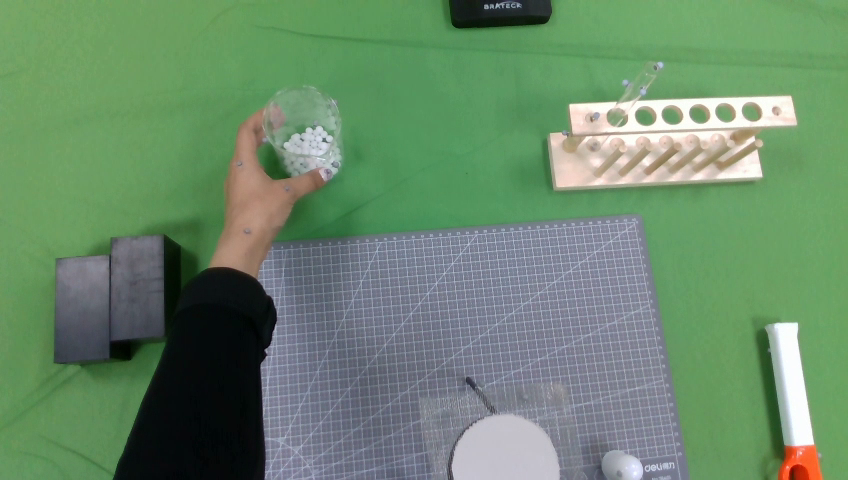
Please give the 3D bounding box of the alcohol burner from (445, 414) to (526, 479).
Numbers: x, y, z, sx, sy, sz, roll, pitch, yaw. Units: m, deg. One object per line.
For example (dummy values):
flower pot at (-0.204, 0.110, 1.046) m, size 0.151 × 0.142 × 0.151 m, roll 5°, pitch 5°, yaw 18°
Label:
alcohol burner at (0.060, 0.201, 0.562) m, size 0.078 × 0.119 × 0.077 m, roll 1°, pitch 75°, yaw -5°

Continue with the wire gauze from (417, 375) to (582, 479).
wire gauze at (0.063, 0.176, 0.487) m, size 0.125 × 0.011 × 0.121 m, roll -6°, pitch 77°, yaw -7°

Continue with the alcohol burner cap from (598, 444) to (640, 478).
alcohol burner cap at (0.197, 0.222, 0.605) m, size 0.034 × 0.048 × 0.033 m, roll 1°, pitch 77°, yaw -3°

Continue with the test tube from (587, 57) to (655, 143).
test tube at (0.195, -0.136, 0.613) m, size 0.017 × 0.151 × 0.017 m, roll 1°, pitch 73°, yaw -4°

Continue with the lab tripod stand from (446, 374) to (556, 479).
lab tripod stand at (0.056, 0.195, 0.552) m, size 0.148 × 0.132 × 0.147 m, roll 1°, pitch 76°, yaw -3°

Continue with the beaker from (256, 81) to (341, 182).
beaker at (-0.122, -0.104, 0.624) m, size 0.074 × 0.100 × 0.083 m, roll -35°, pitch 83°, yaw -11°

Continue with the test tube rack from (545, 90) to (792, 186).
test tube rack at (0.264, -0.110, 0.664) m, size 0.243 × 0.085 × 0.066 m, roll -4°, pitch 77°, yaw -5°

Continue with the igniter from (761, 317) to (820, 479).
igniter at (0.388, 0.219, 0.631) m, size 0.057 × 0.025 × 0.275 m, roll 2°, pitch 77°, yaw -14°
